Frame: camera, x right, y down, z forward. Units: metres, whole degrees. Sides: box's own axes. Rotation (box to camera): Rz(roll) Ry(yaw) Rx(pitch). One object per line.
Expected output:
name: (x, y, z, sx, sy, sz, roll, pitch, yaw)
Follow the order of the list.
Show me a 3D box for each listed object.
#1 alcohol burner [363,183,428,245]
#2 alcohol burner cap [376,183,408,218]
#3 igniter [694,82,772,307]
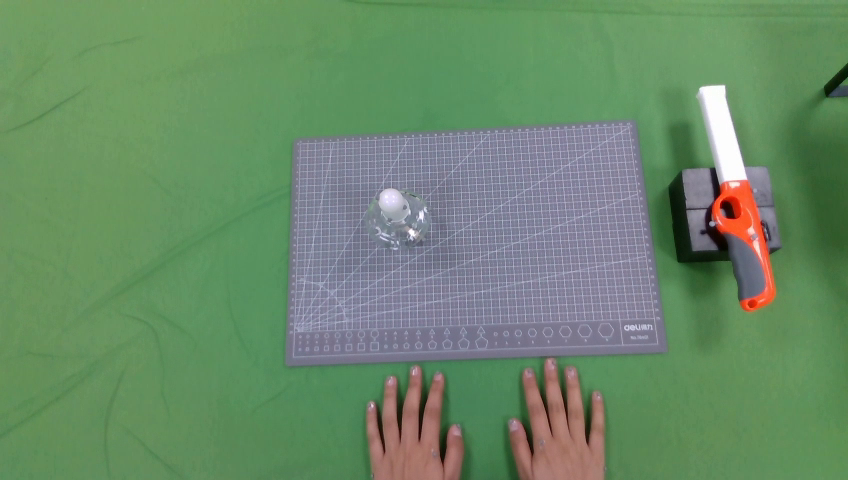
alcohol burner: (-0.035, -0.036, 0.709, 0.078, 0.120, 0.077, 0, 73, 2)
alcohol burner cap: (-0.037, -0.045, 0.675, 0.034, 0.048, 0.033, -2, 78, 8)
igniter: (0.351, -0.058, 0.693, 0.057, 0.025, 0.274, -3, 71, 3)
